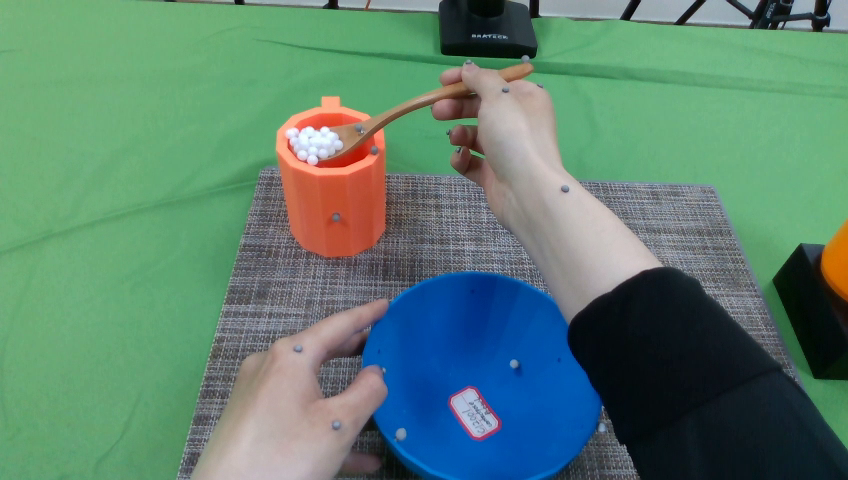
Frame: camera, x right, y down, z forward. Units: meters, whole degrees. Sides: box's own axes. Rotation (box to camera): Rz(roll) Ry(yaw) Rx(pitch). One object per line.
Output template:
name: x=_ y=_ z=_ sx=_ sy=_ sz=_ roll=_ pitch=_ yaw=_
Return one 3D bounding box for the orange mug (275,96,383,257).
orange mug: x=-0.080 y=-0.063 z=0.524 sx=0.083 sy=0.101 sz=0.125 roll=-4 pitch=54 yaw=-8

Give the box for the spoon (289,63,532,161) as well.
spoon: x=-0.013 y=-0.099 z=0.460 sx=0.193 sy=0.022 sz=0.041 roll=-19 pitch=47 yaw=12

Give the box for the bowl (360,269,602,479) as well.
bowl: x=0.033 y=0.101 z=0.402 sx=0.151 sy=0.077 sz=0.150 roll=3 pitch=49 yaw=-3
